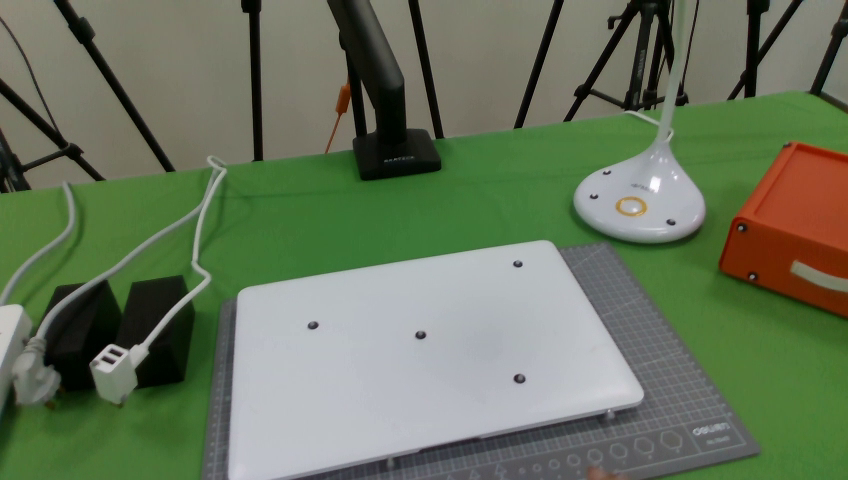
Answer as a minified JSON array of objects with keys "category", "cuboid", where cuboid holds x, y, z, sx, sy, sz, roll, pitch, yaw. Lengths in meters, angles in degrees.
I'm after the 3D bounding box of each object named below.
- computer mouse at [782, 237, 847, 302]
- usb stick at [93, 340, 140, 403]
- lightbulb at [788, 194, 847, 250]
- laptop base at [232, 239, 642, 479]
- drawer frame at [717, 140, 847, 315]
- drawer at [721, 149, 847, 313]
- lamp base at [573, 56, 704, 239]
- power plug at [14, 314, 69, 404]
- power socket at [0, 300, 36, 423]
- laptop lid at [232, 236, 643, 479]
[{"category":"computer mouse","cuboid":[0.437,0.033,0.629,0.116,0.041,0.062,23,42,22]},{"category":"usb stick","cuboid":[-0.261,0.115,0.517,0.021,0.059,0.027,18,39,9]},{"category":"lightbulb","cuboid":[0.459,-0.016,0.686,0.059,0.060,0.107,-1,21,2]},{"category":"laptop base","cuboid":[-0.002,0.099,0.591,0.355,0.023,0.233,-9,41,-9]},{"category":"drawer frame","cuboid":[0.464,-0.015,0.668,0.200,0.083,0.213,23,43,31]},{"category":"drawer","cuboid":[0.464,-0.011,0.666,0.193,0.074,0.211,23,43,31]},{"category":"lamp base","cuboid":[0.274,-0.120,0.737,0.159,0.182,0.178,15,38,22]},{"category":"power plug","cuboid":[-0.333,0.110,0.543,0.035,0.053,0.072,5,53,19]},{"category":"power socket","cuboid":[-0.418,0.135,0.551,0.072,0.033,0.224,-9,37,-11]},{"category":"laptop lid","cuboid":[-0.002,0.091,0.582,0.357,0.013,0.239,-8,39,-8]}]
